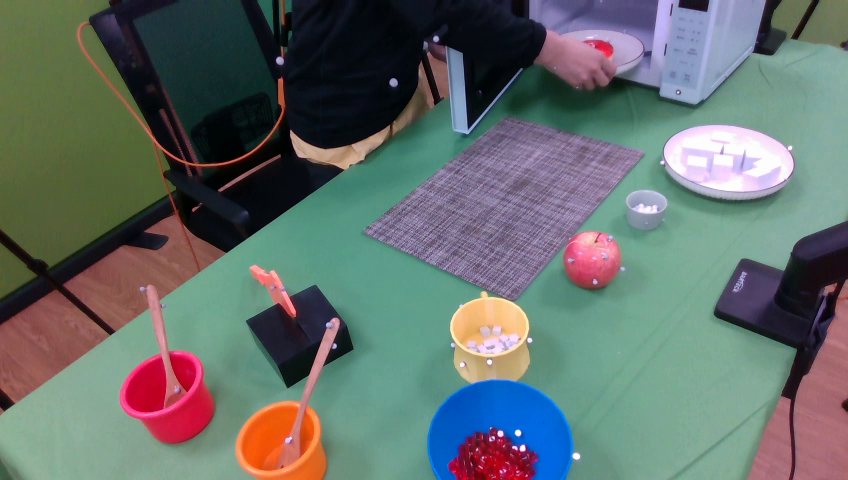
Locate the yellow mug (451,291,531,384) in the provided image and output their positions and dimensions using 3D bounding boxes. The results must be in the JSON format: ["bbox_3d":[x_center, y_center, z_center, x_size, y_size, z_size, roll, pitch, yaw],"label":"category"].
[{"bbox_3d":[0.085,0.120,0.786,0.100,0.064,0.130,-7,39,1],"label":"yellow mug"}]

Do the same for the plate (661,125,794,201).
[{"bbox_3d":[0.513,-0.128,1.035,0.207,0.039,0.206,-4,40,4],"label":"plate"}]

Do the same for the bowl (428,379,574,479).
[{"bbox_3d":[0.082,0.233,0.644,0.151,0.077,0.150,-4,39,4],"label":"bowl"}]

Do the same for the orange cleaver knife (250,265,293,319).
[{"bbox_3d":[-0.221,0.073,0.876,0.012,0.077,0.210,-24,13,-22],"label":"orange cleaver knife"}]

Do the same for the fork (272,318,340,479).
[{"bbox_3d":[-0.131,0.186,0.676,0.028,0.019,0.207,17,90,28],"label":"fork"}]

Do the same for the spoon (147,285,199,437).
[{"bbox_3d":[-0.318,0.148,0.754,0.042,0.021,0.193,-14,85,-11],"label":"spoon"}]

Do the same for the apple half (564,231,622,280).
[{"bbox_3d":[0.248,0.021,0.874,0.080,0.075,0.053,13,40,29],"label":"apple half"}]

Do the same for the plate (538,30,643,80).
[{"bbox_3d":[0.340,-0.377,1.244,0.209,0.038,0.208,-4,38,4],"label":"plate"}]

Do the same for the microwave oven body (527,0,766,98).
[{"bbox_3d":[0.472,-0.513,1.317,0.438,0.261,0.327,26,51,34],"label":"microwave oven body"}]

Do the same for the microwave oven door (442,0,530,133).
[{"bbox_3d":[0.138,-0.414,1.242,0.039,0.245,0.356,15,45,24],"label":"microwave oven door"}]

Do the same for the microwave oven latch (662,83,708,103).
[{"bbox_3d":[0.519,-0.297,1.204,0.030,0.029,0.078,-37,47,-29],"label":"microwave oven latch"}]

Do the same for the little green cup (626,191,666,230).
[{"bbox_3d":[0.352,-0.046,0.963,0.061,0.039,0.061,-4,40,4],"label":"little green cup"}]

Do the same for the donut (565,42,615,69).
[{"bbox_3d":[0.334,-0.370,1.222,0.099,0.048,0.098,-11,29,7],"label":"donut"}]

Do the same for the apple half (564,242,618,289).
[{"bbox_3d":[0.229,0.044,0.848,0.081,0.081,0.033,16,41,26],"label":"apple half"}]
